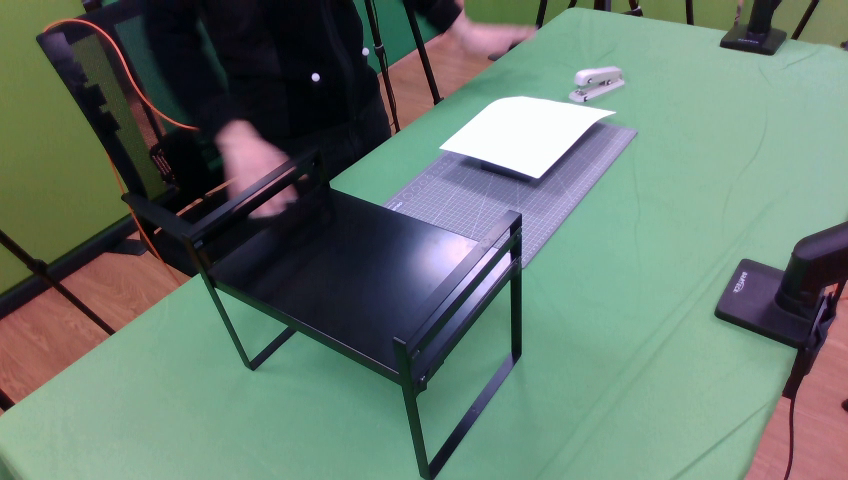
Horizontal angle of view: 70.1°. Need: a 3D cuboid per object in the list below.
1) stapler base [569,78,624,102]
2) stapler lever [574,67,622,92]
[{"bbox_3d":[0.373,-0.332,1.308,0.131,0.024,0.041,-24,44,-21],"label":"stapler base"},{"bbox_3d":[0.372,-0.351,1.293,0.118,0.040,0.026,-25,45,-20],"label":"stapler lever"}]
